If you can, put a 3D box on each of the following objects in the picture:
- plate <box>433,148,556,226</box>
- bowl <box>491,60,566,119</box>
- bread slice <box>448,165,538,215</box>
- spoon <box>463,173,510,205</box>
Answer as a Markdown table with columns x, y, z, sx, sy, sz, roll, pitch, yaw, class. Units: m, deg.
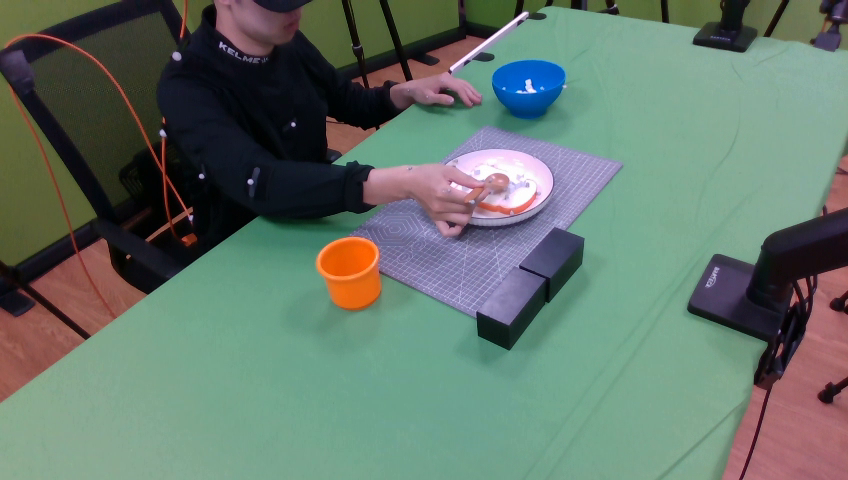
| x | y | z | sx | sy | sz | roll | pitch | yaw | class |
| --- | --- | --- | --- | --- | --- | --- | --- | --- | --- |
| 0.120 | -0.087 | 1.037 | 0.209 | 0.038 | 0.208 | -4 | 40 | 4 | plate |
| 0.215 | -0.302 | 1.248 | 0.151 | 0.077 | 0.150 | -4 | 41 | 4 | bowl |
| 0.126 | -0.085 | 1.038 | 0.133 | 0.018 | 0.107 | 17 | 45 | 27 | bread slice |
| 0.095 | -0.082 | 0.942 | 0.041 | 0.021 | 0.194 | 17 | 19 | 19 | spoon |
